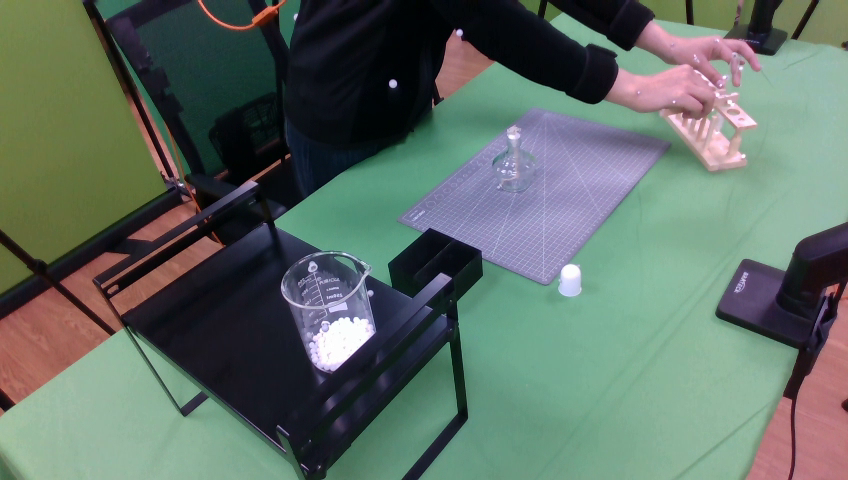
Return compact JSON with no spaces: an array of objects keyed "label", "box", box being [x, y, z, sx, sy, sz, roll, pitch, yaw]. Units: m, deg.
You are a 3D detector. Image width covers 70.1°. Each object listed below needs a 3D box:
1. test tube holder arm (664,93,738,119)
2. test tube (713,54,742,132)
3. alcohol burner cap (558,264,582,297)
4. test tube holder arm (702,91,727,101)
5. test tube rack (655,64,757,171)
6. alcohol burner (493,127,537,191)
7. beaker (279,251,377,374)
[{"label":"test tube holder arm","box":[0.443,-0.215,0.963,0.179,0.015,0.013,-18,31,-30]},{"label":"test tube","box":[0.523,-0.251,1.047,0.017,0.151,0.017,-4,46,5]},{"label":"alcohol burner cap","box":[0.210,0.055,0.865,0.034,0.048,0.033,-4,41,4]},{"label":"test tube holder arm","box":[0.475,-0.230,0.991,0.010,0.015,0.088,22,35,38]},{"label":"test tube rack","box":[0.512,-0.233,1.120,0.067,0.085,0.241,-9,41,-1]},{"label":"alcohol burner","box":[0.157,-0.146,1.045,0.078,0.119,0.077,-4,43,4]},{"label":"beaker","box":[-0.083,0.070,0.569,0.084,0.101,0.073,-18,42,-13]}]
